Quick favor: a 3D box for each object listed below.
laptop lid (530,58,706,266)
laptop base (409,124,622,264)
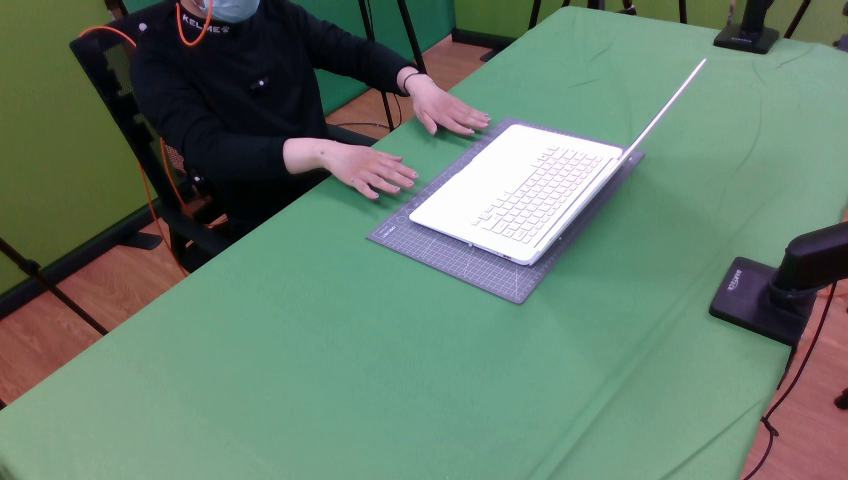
[{"bbox_3d":[0.293,-0.118,0.905,0.013,0.241,0.357,40,53,9],"label":"laptop lid"},{"bbox_3d":[0.168,-0.095,1.057,0.233,0.023,0.355,20,47,32],"label":"laptop base"}]
